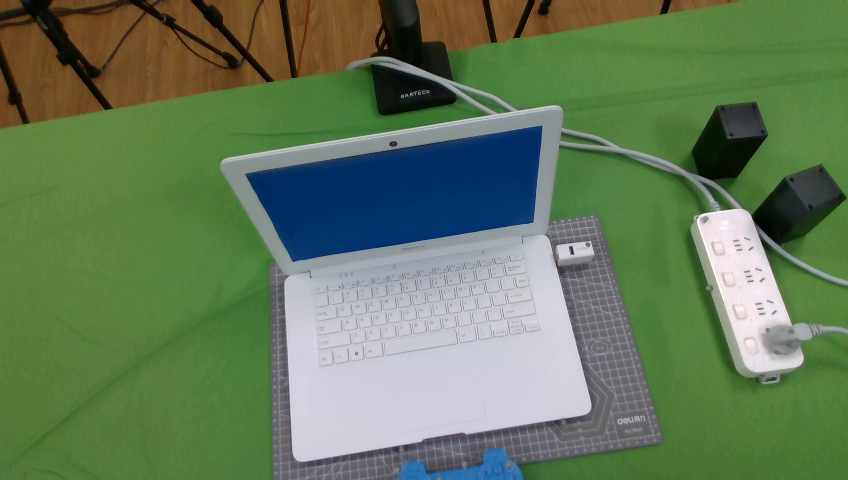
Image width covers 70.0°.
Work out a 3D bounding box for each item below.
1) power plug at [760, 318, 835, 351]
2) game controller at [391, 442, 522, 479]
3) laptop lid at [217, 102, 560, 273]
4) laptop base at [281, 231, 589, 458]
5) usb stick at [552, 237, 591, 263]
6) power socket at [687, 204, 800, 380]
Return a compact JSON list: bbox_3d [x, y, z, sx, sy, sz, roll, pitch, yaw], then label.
[{"bbox_3d":[0.426,0.111,0.697,0.072,0.053,0.035,4,65,2],"label":"power plug"},{"bbox_3d":[0.036,0.279,0.663,0.155,0.052,0.096,-9,63,0],"label":"game controller"},{"bbox_3d":[-0.026,-0.048,0.700,0.357,0.244,0.013,-10,57,1],"label":"laptop lid"},{"bbox_3d":[0.003,0.122,0.752,0.354,0.023,0.233,-10,68,0],"label":"laptop base"},{"bbox_3d":[0.181,0.014,0.774,0.059,0.027,0.021,-10,66,4],"label":"usb stick"},{"bbox_3d":[0.389,0.056,0.745,0.072,0.033,0.225,-8,65,2],"label":"power socket"}]
